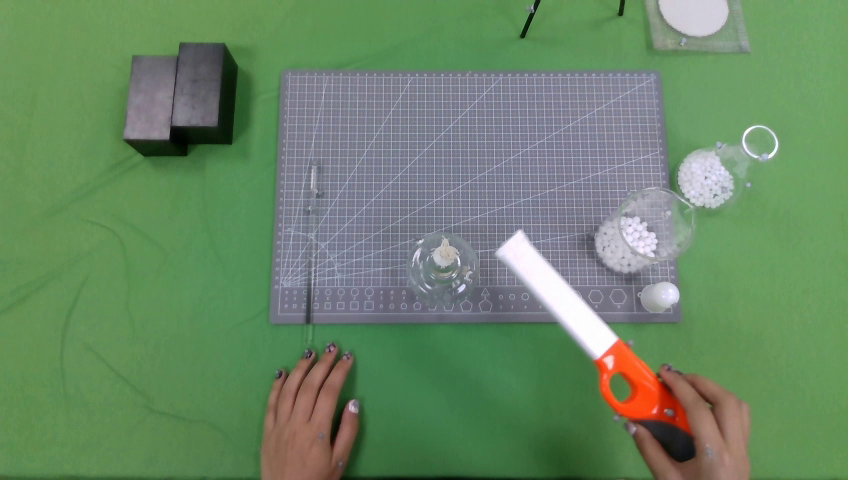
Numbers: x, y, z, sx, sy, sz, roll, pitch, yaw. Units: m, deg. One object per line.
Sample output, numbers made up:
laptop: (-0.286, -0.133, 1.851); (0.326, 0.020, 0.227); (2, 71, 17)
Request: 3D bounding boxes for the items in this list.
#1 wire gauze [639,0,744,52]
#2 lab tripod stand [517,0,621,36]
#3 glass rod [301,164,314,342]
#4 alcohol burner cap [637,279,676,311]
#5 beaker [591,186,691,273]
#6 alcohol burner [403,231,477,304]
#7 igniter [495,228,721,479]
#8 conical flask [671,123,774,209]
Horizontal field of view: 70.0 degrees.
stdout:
wire gauze: (0.327, -0.287, 0.744); (0.125, 0.011, 0.121); (-2, 78, -3)
lab tripod stand: (0.167, -0.309, 0.682); (0.148, 0.132, 0.148); (0, 80, -1)
glass rod: (-0.128, 0.012, 0.671); (0.008, 0.008, 0.199); (1, 81, -1)
alcohol burner cap: (0.252, 0.057, 0.650); (0.034, 0.048, 0.033); (0, 78, -1)
beaker: (0.224, -0.008, 0.634); (0.084, 0.100, 0.073); (-24, 79, -6)
alcohol burner: (0.017, 0.024, 0.617); (0.078, 0.119, 0.077); (0, 77, 1)
igniter: (0.164, 0.102, 0.533); (0.057, 0.025, 0.276); (-42, 90, -9)
conical flask: (0.320, -0.084, 0.643); (0.075, 0.122, 0.075); (0, 77, 0)
